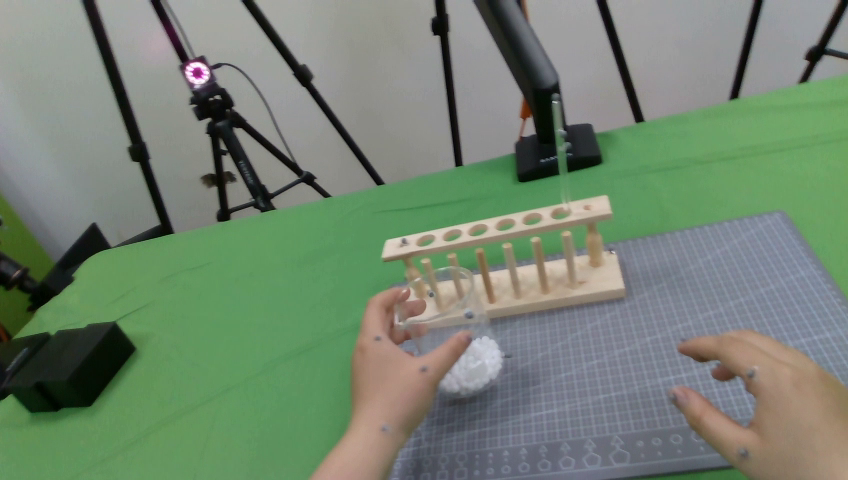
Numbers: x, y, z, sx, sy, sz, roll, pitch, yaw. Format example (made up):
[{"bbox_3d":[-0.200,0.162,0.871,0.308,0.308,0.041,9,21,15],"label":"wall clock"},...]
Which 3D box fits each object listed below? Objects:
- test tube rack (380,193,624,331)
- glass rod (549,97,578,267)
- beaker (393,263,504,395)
[{"bbox_3d":[0.079,0.027,0.645,0.242,0.086,0.066,-11,34,15],"label":"test tube rack"},{"bbox_3d":[0.139,-0.049,0.597,0.008,0.202,0.008,-11,36,9],"label":"glass rod"},{"bbox_3d":[0.024,0.084,0.544,0.084,0.101,0.073,-36,29,-22],"label":"beaker"}]
